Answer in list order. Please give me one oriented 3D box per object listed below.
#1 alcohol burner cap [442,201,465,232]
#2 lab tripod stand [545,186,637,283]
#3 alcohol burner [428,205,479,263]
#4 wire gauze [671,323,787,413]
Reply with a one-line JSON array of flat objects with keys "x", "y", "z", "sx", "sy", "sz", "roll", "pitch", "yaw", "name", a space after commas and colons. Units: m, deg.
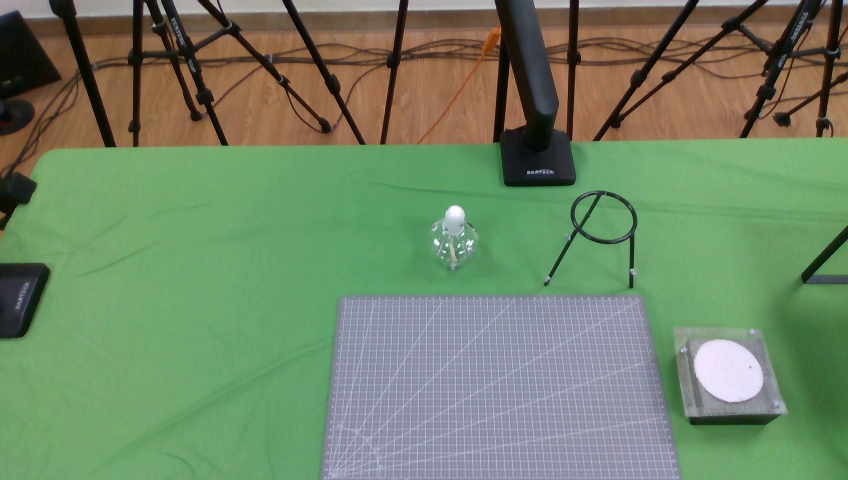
[{"x": 0.043, "y": -0.036, "z": 0.868, "sx": 0.034, "sy": 0.048, "sz": 0.033, "roll": 1, "pitch": 62, "yaw": -2, "name": "alcohol burner cap"}, {"x": 0.249, "y": -0.002, "z": 0.874, "sx": 0.148, "sy": 0.132, "sz": 0.147, "roll": 1, "pitch": 56, "yaw": -1, "name": "lab tripod stand"}, {"x": 0.044, "y": -0.018, "z": 0.897, "sx": 0.078, "sy": 0.120, "sz": 0.077, "roll": 1, "pitch": 57, "yaw": -1, "name": "alcohol burner"}, {"x": 0.388, "y": 0.163, "z": 0.780, "sx": 0.121, "sy": 0.011, "sz": 0.124, "roll": 1, "pitch": 56, "yaw": 5, "name": "wire gauze"}]
